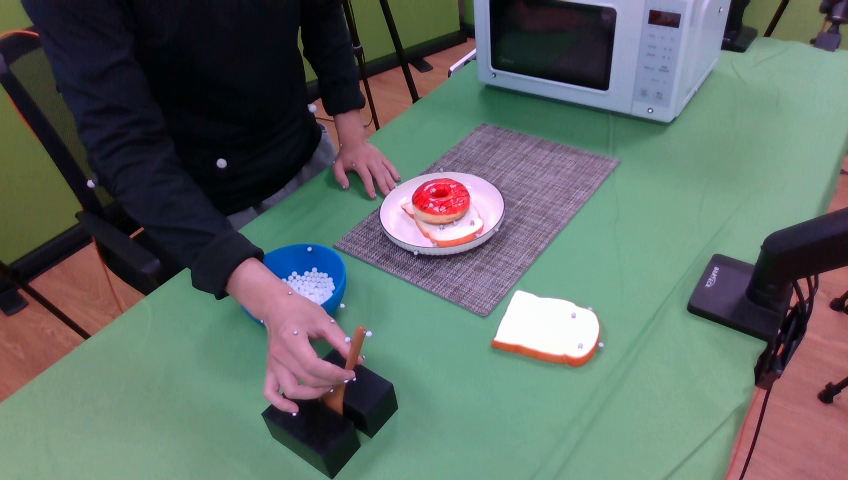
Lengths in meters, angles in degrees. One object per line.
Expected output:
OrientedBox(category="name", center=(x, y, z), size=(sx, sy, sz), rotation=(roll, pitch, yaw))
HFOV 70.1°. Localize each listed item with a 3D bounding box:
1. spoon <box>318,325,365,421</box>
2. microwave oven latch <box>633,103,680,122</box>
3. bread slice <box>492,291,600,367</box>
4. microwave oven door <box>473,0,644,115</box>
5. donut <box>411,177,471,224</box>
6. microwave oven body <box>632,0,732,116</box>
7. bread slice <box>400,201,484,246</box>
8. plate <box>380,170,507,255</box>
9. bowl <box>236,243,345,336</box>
OrientedBox(category="spoon", center=(-0.091, 0.150, 0.679), size=(0.041, 0.193, 0.022), rotation=(42, 44, 20))
OrientedBox(category="microwave oven latch", center=(0.444, -0.249, 1.157), size=(0.078, 0.029, 0.030), rotation=(21, 49, 30))
OrientedBox(category="bread slice", center=(0.169, 0.118, 0.811), size=(0.131, 0.019, 0.105), rotation=(11, 44, 21))
OrientedBox(category="microwave oven door", center=(0.257, -0.396, 1.199), size=(0.353, 0.245, 0.039), rotation=(21, 48, 29))
OrientedBox(category="donut", center=(0.028, -0.064, 0.978), size=(0.099, 0.048, 0.098), rotation=(-4, 40, 4))
OrientedBox(category="microwave oven body", center=(0.377, -0.462, 1.267), size=(0.438, 0.261, 0.327), rotation=(21, 49, 30))
OrientedBox(category="bread slice", center=(0.037, -0.037, 0.991), size=(0.107, 0.018, 0.133), rotation=(-23, 42, -17))
OrientedBox(category="plate", center=(0.033, -0.042, 0.995), size=(0.207, 0.039, 0.206), rotation=(-4, 40, 4))
OrientedBox(category="bowl", center=(-0.180, 0.082, 0.855), size=(0.151, 0.077, 0.150), rotation=(-4, 41, 4))
